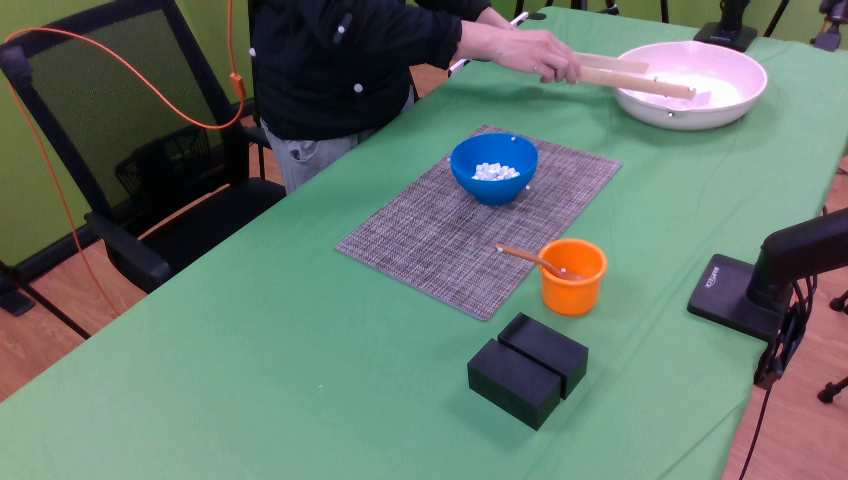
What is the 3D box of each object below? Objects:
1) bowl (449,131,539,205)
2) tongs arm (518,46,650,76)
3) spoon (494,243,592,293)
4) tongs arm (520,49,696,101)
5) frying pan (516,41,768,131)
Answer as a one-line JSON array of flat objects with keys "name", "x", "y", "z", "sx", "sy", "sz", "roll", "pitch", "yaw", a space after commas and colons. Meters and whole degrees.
[{"name": "bowl", "x": 0.120, "y": -0.114, "z": 1.034, "sx": 0.151, "sy": 0.077, "sz": 0.150, "roll": -4, "pitch": 41, "yaw": 4}, {"name": "tongs arm", "x": 0.308, "y": -0.330, "z": 1.128, "sx": 0.391, "sy": 0.028, "sz": 0.028, "roll": -7, "pitch": 44, "yaw": -38}, {"name": "spoon", "x": 0.161, "y": 0.034, "z": 0.808, "sx": 0.021, "sy": 0.195, "sz": 0.041, "roll": -48, "pitch": 39, "yaw": 20}, {"name": "tongs arm", "x": 0.340, "y": -0.291, "z": 1.079, "sx": 0.388, "sy": 0.026, "sz": 0.050, "roll": 0, "pitch": 37, "yaw": -30}, {"name": "frying pan", "x": 0.424, "y": -0.338, "z": 1.236, "sx": 0.486, "sy": 0.103, "sz": 0.307, "roll": 18, "pitch": 45, "yaw": 15}]
